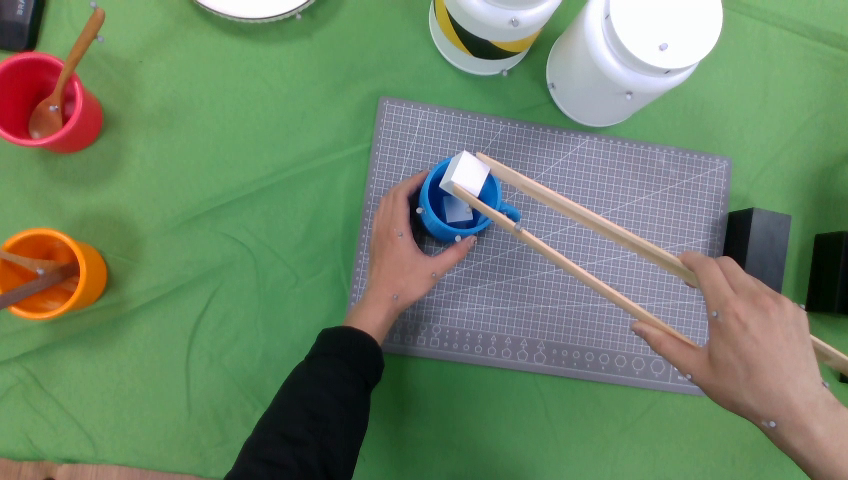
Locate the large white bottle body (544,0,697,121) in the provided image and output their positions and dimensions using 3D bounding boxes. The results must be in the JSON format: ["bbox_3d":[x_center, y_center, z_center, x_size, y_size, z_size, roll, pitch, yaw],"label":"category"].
[{"bbox_3d":[0.219,-0.216,0.666,0.131,0.184,0.130,0,86,-6],"label":"large white bottle body"}]

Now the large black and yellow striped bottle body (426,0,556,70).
[{"bbox_3d":[0.075,-0.275,0.653,0.131,0.184,0.130,0,86,-6],"label":"large black and yellow striped bottle body"}]

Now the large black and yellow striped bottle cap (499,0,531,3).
[{"bbox_3d":[0.084,-0.283,0.571,0.115,0.019,0.115,0,88,-7],"label":"large black and yellow striped bottle cap"}]

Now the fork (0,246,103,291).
[{"bbox_3d":[-0.422,0.009,0.598,0.209,0.018,0.028,33,79,-47],"label":"fork"}]

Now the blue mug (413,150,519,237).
[{"bbox_3d":[0.049,-0.044,0.674,0.117,0.106,0.082,15,84,-5],"label":"blue mug"}]

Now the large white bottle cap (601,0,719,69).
[{"bbox_3d":[0.227,-0.223,0.582,0.115,0.018,0.114,1,86,-7],"label":"large white bottle cap"}]

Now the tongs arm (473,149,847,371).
[{"bbox_3d":[0.202,0.022,0.512,0.385,0.028,0.028,33,72,16],"label":"tongs arm"}]

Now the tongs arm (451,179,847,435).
[{"bbox_3d":[0.187,0.042,0.506,0.382,0.027,0.050,37,77,16],"label":"tongs arm"}]

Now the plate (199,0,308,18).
[{"bbox_3d":[-0.199,-0.355,0.701,0.208,0.039,0.207,0,87,-6],"label":"plate"}]

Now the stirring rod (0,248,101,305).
[{"bbox_3d":[-0.405,0.049,0.604,0.014,0.006,0.176,55,41,-3],"label":"stirring rod"}]

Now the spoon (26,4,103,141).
[{"bbox_3d":[-0.367,-0.167,0.618,0.194,0.021,0.041,-37,87,36],"label":"spoon"}]
